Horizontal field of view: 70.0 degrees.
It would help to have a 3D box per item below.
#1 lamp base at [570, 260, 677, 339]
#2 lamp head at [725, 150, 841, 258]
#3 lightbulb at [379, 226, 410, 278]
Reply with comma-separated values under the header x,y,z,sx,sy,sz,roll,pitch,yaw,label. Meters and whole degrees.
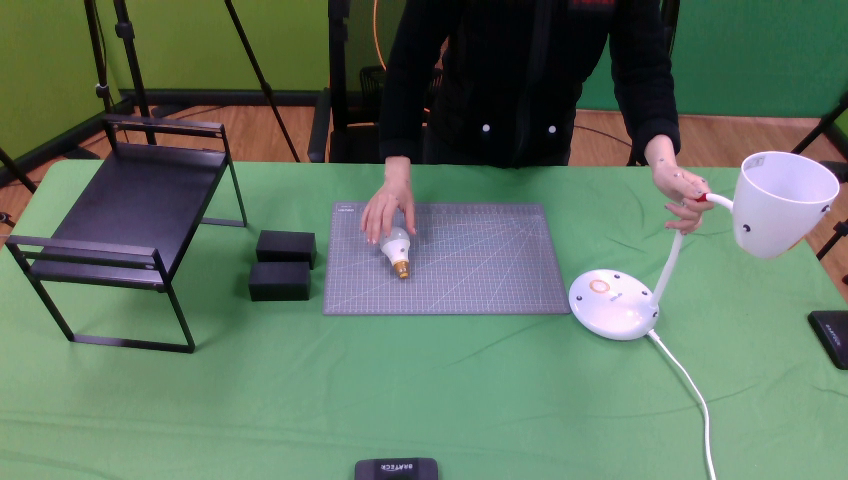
x,y,z,sx,sy,sz,roll,pitch,yaw,label
0.360,0.067,1.047,0.178,0.181,0.160,37,55,25,lamp base
0.443,-0.040,0.774,0.112,0.123,0.111,1,45,-1,lamp head
-0.051,0.024,1.148,0.059,0.060,0.107,-10,63,-13,lightbulb
